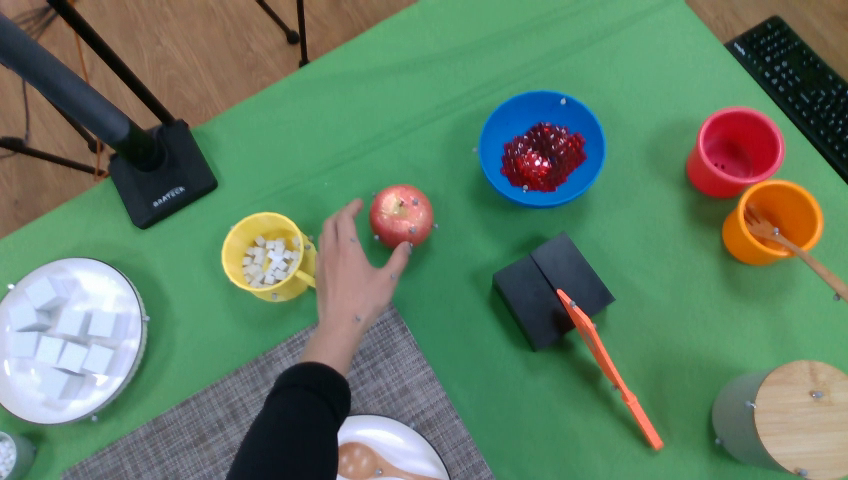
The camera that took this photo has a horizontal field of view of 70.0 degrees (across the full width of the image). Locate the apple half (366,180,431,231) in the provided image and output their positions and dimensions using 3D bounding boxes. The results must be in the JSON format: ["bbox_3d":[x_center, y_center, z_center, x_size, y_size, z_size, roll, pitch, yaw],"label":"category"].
[{"bbox_3d":[-0.028,-0.045,0.751,0.080,0.075,0.053,9,72,11],"label":"apple half"}]

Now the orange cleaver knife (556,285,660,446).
[{"bbox_3d":[0.203,0.139,0.672,0.012,0.076,0.212,-33,107,0],"label":"orange cleaver knife"}]

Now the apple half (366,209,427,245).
[{"bbox_3d":[-0.035,-0.009,0.740,0.081,0.082,0.032,10,73,8],"label":"apple half"}]

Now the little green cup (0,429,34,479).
[{"bbox_3d":[-0.505,0.257,0.726,0.061,0.039,0.061,-1,75,3],"label":"little green cup"}]

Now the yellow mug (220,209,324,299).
[{"bbox_3d":[-0.179,0.026,0.748,0.130,0.064,0.099,29,78,11],"label":"yellow mug"}]

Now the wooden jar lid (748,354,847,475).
[{"bbox_3d":[0.358,0.163,0.569,0.108,0.021,0.108,-1,77,3],"label":"wooden jar lid"}]

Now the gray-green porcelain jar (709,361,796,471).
[{"bbox_3d":[0.365,0.181,0.628,0.106,0.127,0.105,-1,74,5],"label":"gray-green porcelain jar"}]

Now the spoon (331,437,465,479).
[{"bbox_3d":[-0.012,0.257,0.668,0.193,0.022,0.041,8,70,19],"label":"spoon"}]

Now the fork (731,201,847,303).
[{"bbox_3d":[0.400,0.010,0.659,0.028,0.019,0.205,-8,30,-4],"label":"fork"}]

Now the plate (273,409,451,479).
[{"bbox_3d":[-0.068,0.296,0.676,0.209,0.038,0.208,-1,75,5],"label":"plate"}]

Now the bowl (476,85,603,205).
[{"bbox_3d":[0.139,-0.106,0.750,0.151,0.077,0.150,-1,75,5],"label":"bowl"}]

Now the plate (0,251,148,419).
[{"bbox_3d":[-0.442,0.118,0.760,0.207,0.039,0.206,-1,75,5],"label":"plate"}]
